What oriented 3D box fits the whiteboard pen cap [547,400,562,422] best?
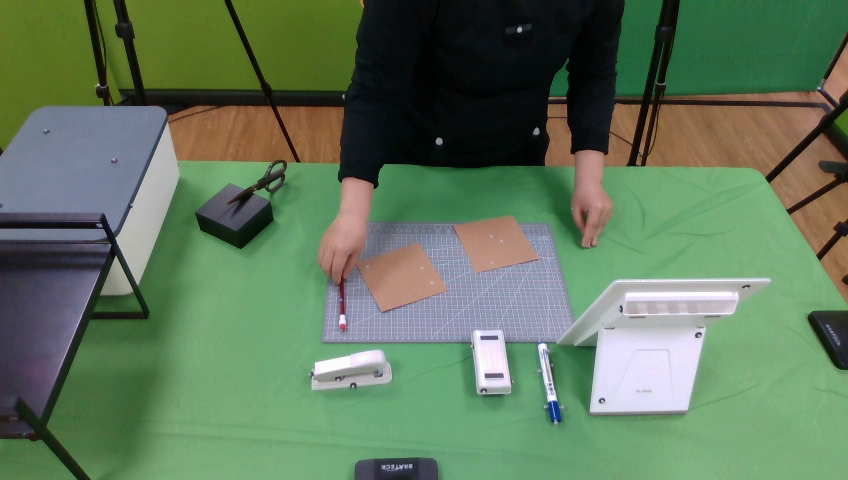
[{"bbox_3d":[0.205,0.269,0.956,0.018,0.018,0.033,-1,48,-5],"label":"whiteboard pen cap"}]

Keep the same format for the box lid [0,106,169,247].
[{"bbox_3d":[-0.624,-0.125,1.067,0.263,0.015,0.369,0,46,-3],"label":"box lid"}]

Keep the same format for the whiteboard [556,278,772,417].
[{"bbox_3d":[0.347,0.174,0.903,0.217,0.306,0.143,1,65,-4],"label":"whiteboard"}]

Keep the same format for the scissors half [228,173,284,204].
[{"bbox_3d":[-0.339,-0.101,1.229,0.013,0.040,0.175,23,28,14],"label":"scissors half"}]

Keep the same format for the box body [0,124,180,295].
[{"bbox_3d":[-0.628,-0.075,1.122,0.254,0.161,0.361,1,46,-4],"label":"box body"}]

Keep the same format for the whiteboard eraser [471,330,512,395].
[{"bbox_3d":[0.110,0.202,0.998,0.055,0.042,0.112,1,46,-5],"label":"whiteboard eraser"}]

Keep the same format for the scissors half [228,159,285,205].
[{"bbox_3d":[-0.334,-0.116,1.217,0.013,0.040,0.174,27,46,11],"label":"scissors half"}]

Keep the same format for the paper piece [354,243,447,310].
[{"bbox_3d":[-0.045,0.066,1.137,0.136,0.009,0.137,-13,47,-23],"label":"paper piece"}]

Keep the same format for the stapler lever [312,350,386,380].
[{"bbox_3d":[-0.120,0.198,0.963,0.118,0.040,0.026,-4,44,-8],"label":"stapler lever"}]

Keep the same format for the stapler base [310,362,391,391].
[{"bbox_3d":[-0.119,0.215,0.980,0.131,0.024,0.041,-5,44,-7],"label":"stapler base"}]

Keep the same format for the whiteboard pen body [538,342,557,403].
[{"bbox_3d":[0.205,0.228,0.997,0.017,0.017,0.140,1,46,-3],"label":"whiteboard pen body"}]

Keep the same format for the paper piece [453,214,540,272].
[{"bbox_3d":[0.142,0.002,1.213,0.135,0.004,0.135,-11,47,-14],"label":"paper piece"}]

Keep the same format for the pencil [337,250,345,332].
[{"bbox_3d":[-0.153,0.087,1.105,0.012,0.012,0.192,-3,46,-7],"label":"pencil"}]
